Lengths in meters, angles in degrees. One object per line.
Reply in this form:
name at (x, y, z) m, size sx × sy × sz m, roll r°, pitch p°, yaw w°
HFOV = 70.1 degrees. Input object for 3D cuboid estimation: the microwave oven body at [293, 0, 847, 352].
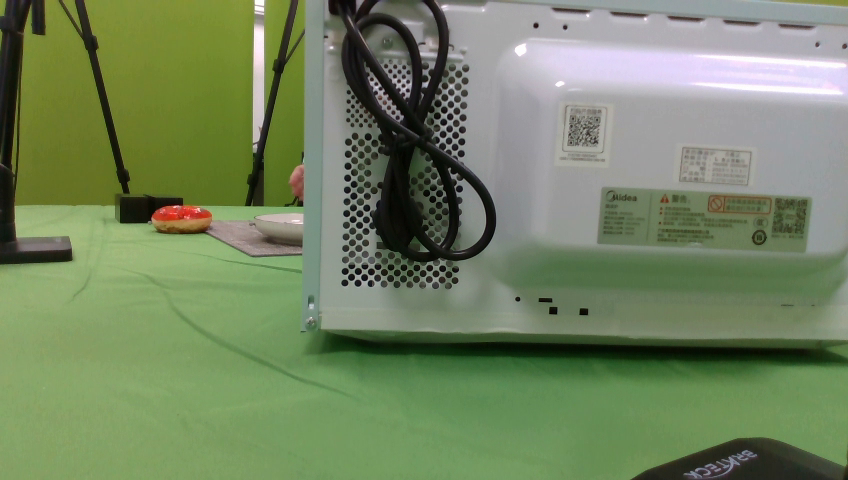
microwave oven body at (0.122, -0.055, 0.550) m, size 0.442 × 0.260 × 0.325 m, roll 3°, pitch 7°, yaw -5°

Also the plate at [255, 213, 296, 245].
plate at (-0.177, -0.018, 1.017) m, size 0.208 × 0.039 × 0.207 m, roll 2°, pitch 7°, yaw 0°

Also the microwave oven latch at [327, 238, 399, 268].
microwave oven latch at (-0.069, 0.015, 0.694) m, size 0.079 × 0.029 × 0.030 m, roll 3°, pitch 7°, yaw -3°

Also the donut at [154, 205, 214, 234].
donut at (-0.426, -0.037, 1.075) m, size 0.099 × 0.048 × 0.099 m, roll 2°, pitch 12°, yaw 0°

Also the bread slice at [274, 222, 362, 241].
bread slice at (-0.181, -0.016, 1.011) m, size 0.104 × 0.019 × 0.132 m, roll 6°, pitch 8°, yaw 27°

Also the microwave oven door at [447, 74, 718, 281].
microwave oven door at (0.190, -0.090, 0.811) m, size 0.354 × 0.243 × 0.039 m, roll 8°, pitch 10°, yaw 36°
